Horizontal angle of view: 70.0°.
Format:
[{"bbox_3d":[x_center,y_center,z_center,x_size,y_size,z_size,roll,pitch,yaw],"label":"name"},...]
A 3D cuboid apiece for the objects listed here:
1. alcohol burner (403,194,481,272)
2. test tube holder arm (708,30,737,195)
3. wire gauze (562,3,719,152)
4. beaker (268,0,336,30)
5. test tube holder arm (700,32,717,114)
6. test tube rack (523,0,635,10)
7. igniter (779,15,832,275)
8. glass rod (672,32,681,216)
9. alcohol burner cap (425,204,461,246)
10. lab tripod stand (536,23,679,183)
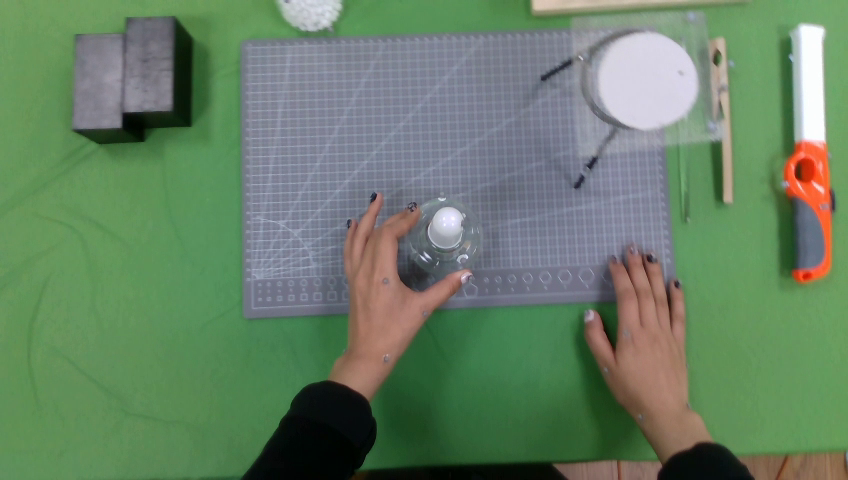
[{"bbox_3d":[0.018,-0.010,0.580,0.078,0.119,0.077,0,81,0],"label":"alcohol burner"},{"bbox_3d":[0.315,-0.135,0.643,0.013,0.015,0.178,-10,82,36],"label":"test tube holder arm"},{"bbox_3d":[0.182,-0.141,0.517,0.121,0.011,0.124,-5,84,1],"label":"wire gauze"},{"bbox_3d":[-0.133,-0.266,0.615,0.084,0.100,0.074,15,84,2],"label":"beaker"},{"bbox_3d":[0.307,-0.179,0.651,0.010,0.015,0.087,-8,83,37],"label":"test tube holder arm"},{"bbox_3d":[0.227,-0.300,0.627,0.242,0.085,0.066,-5,84,-1],"label":"test tube rack"},{"bbox_3d":[0.400,-0.101,0.638,0.057,0.025,0.276,3,84,-10],"label":"igniter"},{"bbox_3d":[0.271,-0.125,0.650,0.008,0.008,0.199,0,87,-1],"label":"glass rod"},{"bbox_3d":[0.019,-0.016,0.545,0.034,0.048,0.033,1,75,-4],"label":"alcohol burner cap"},{"bbox_3d":[0.172,-0.139,0.584,0.148,0.132,0.148,0,84,2],"label":"lab tripod stand"}]
